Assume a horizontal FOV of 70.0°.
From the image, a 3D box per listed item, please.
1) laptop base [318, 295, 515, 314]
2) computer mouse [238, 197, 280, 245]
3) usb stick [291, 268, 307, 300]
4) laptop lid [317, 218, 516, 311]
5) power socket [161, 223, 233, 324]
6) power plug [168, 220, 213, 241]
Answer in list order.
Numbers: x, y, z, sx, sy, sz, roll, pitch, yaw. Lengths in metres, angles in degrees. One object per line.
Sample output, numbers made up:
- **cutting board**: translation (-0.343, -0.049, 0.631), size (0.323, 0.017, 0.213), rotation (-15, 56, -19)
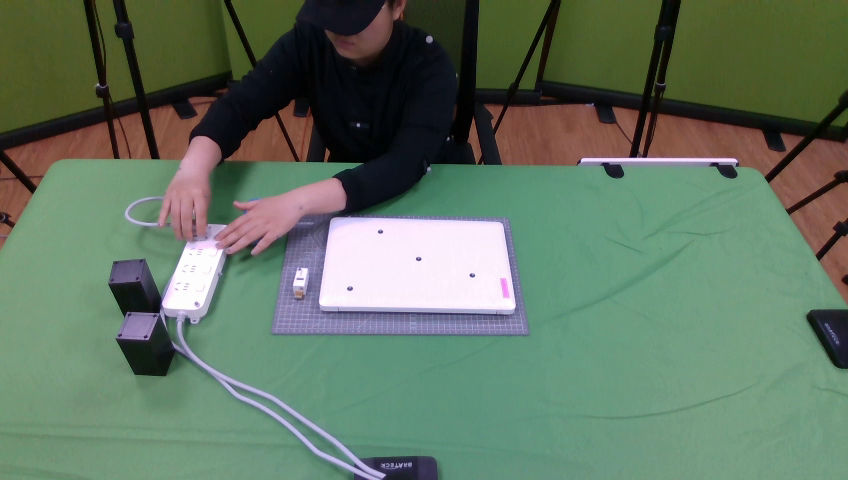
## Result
- **laptop base**: translation (-0.014, 0.049, 1.150), size (0.354, 0.023, 0.234), rotation (1, 42, -3)
- **computer mouse**: translation (-0.326, -0.041, 1.200), size (0.063, 0.041, 0.116), rotation (7, 51, -3)
- **usb stick**: translation (-0.226, 0.081, 1.094), size (0.021, 0.027, 0.059), rotation (4, 48, -2)
- **laptop lid**: translation (-0.013, 0.040, 1.143), size (0.357, 0.013, 0.240), rotation (3, 43, -2)
- **power socket**: translation (-0.410, 0.051, 1.106), size (0.072, 0.033, 0.225), rotation (5, 46, -1)
- **power plug**: translation (-0.436, -0.016, 1.145), size (0.072, 0.053, 0.035), rotation (8, 47, 13)
